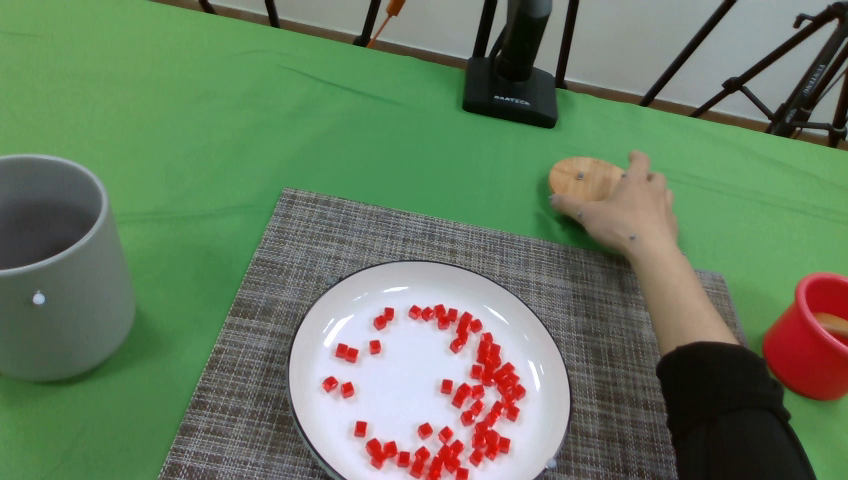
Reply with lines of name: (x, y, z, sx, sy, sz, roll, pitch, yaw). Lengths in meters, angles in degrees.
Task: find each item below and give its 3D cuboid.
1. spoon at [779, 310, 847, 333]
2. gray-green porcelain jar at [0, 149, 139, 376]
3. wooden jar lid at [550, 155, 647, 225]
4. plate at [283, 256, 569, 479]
spoon: (0.385, 0.079, 0.490, 0.042, 0.022, 0.192, -10, 11, -28)
gray-green porcelain jar: (-0.254, 0.022, 0.404, 0.106, 0.127, 0.105, 7, 46, -7)
wooden jar lid: (0.189, -0.054, 0.662, 0.108, 0.021, 0.107, 7, 45, -7)
plate: (0.002, 0.101, 0.450, 0.208, 0.039, 0.205, 8, 46, -7)
